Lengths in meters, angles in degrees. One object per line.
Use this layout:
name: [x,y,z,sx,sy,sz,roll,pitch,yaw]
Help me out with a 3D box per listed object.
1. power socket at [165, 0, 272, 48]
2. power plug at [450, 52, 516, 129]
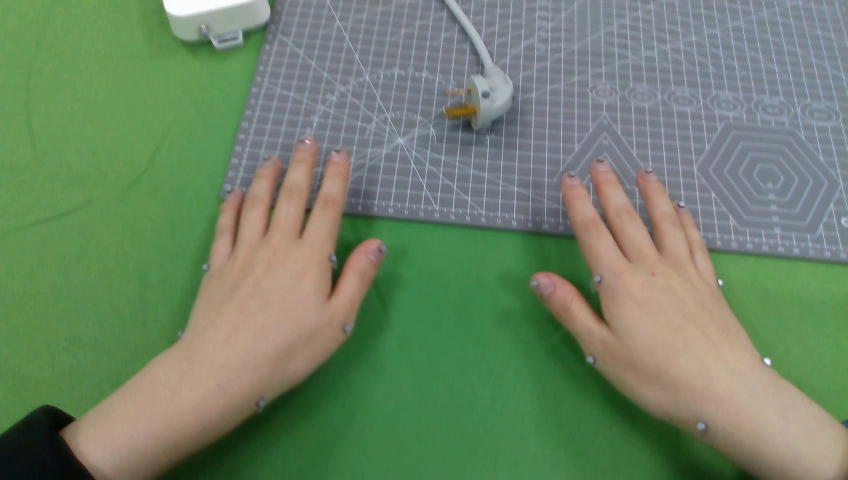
power socket: [-0.176,-0.245,0.474,0.072,0.033,0.224,-16,66,-11]
power plug: [0.039,-0.097,0.384,0.035,0.072,0.053,1,97,12]
